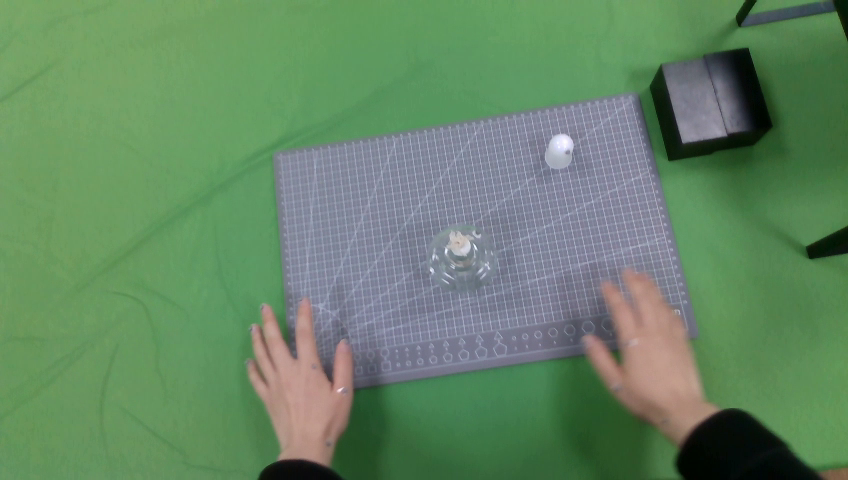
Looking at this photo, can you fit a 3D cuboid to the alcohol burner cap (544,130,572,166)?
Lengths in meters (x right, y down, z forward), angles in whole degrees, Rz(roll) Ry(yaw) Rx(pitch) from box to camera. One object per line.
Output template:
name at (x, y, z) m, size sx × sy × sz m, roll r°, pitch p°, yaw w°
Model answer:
alcohol burner cap at (0.157, -0.109, 0.699) m, size 0.034 × 0.048 × 0.033 m, roll -1°, pitch 76°, yaw 6°

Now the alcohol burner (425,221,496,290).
alcohol burner at (0.038, 0.013, 0.641) m, size 0.078 × 0.120 × 0.077 m, roll -1°, pitch 77°, yaw 6°
